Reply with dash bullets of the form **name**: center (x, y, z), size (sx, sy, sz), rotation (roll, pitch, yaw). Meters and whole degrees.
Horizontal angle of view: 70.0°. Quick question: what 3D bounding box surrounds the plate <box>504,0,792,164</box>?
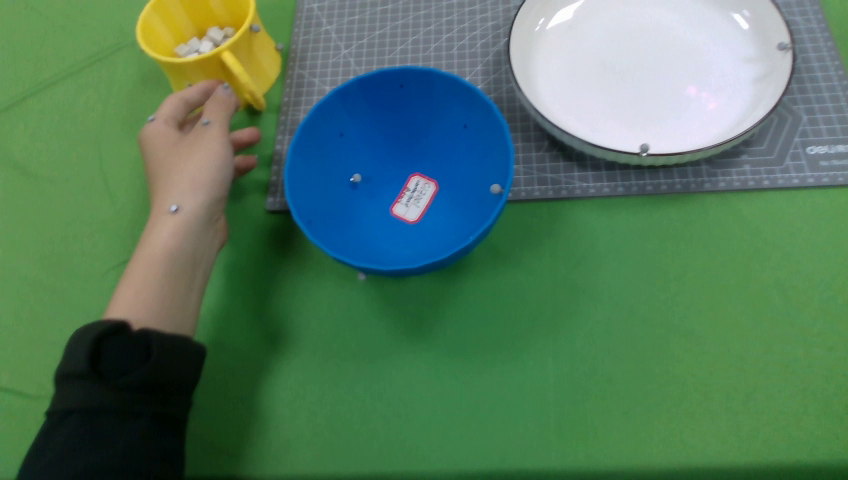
- **plate**: center (0.166, -0.142, 0.469), size (0.209, 0.038, 0.207), rotation (-3, 64, 6)

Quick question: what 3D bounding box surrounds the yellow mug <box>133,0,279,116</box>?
- **yellow mug**: center (-0.173, -0.155, 0.510), size (0.100, 0.064, 0.129), rotation (-37, 65, -11)

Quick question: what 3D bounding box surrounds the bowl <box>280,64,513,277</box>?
- **bowl**: center (-0.013, -0.036, 0.420), size (0.151, 0.077, 0.150), rotation (-3, 68, 7)
